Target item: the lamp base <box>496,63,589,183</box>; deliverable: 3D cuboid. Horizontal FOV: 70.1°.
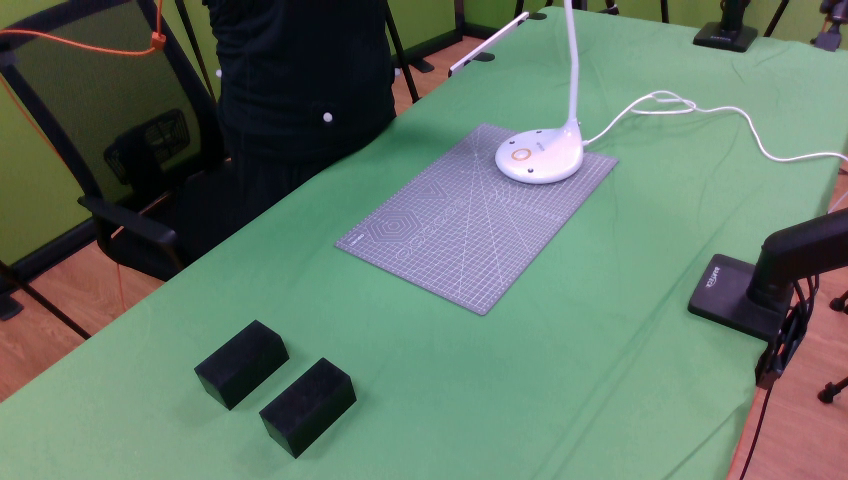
[{"bbox_3d":[0.216,-0.217,1.067,0.180,0.181,0.159,-19,42,-18],"label":"lamp base"}]
